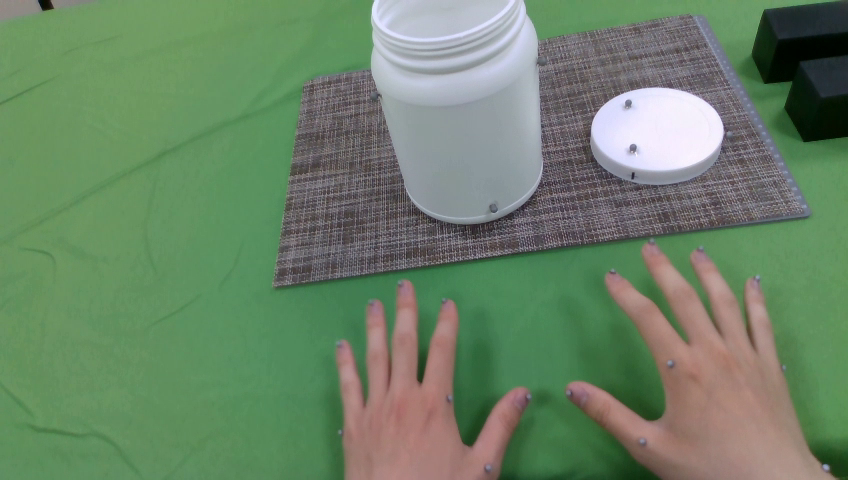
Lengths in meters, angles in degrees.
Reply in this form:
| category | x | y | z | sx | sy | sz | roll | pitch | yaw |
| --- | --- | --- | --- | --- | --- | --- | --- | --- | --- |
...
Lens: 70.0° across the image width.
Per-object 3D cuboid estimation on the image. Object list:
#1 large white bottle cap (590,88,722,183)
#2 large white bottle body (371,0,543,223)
| category | x | y | z | sx | sy | sz | roll | pitch | yaw |
| --- | --- | --- | --- | --- | --- | --- | --- | --- | --- |
| large white bottle cap | 0.212 | -0.099 | 0.559 | 0.115 | 0.018 | 0.113 | -6 | 51 | 8 |
| large white bottle body | 0.030 | -0.118 | 0.506 | 0.130 | 0.186 | 0.129 | -6 | 50 | 8 |
